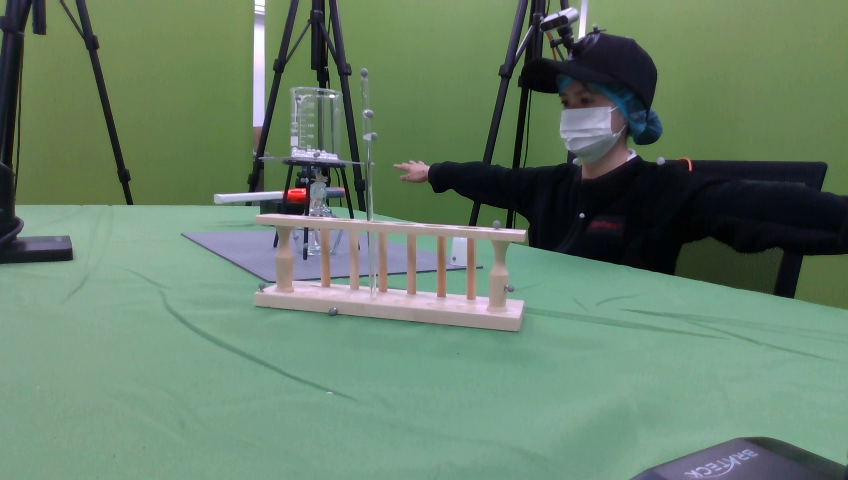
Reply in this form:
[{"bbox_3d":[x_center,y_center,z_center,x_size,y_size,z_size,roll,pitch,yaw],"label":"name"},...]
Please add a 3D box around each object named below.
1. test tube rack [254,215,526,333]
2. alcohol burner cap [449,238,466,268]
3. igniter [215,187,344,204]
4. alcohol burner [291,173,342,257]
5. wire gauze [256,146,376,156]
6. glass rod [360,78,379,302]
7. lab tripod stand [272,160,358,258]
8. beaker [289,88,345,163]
[{"bbox_3d":[-0.030,0.025,0.557,0.242,0.085,0.067,4,7,12],"label":"test tube rack"},{"bbox_3d":[0.051,0.014,0.827,0.034,0.048,0.034,3,4,0],"label":"alcohol burner cap"},{"bbox_3d":[-0.290,-0.093,1.256,0.278,0.025,0.057,-6,11,-34],"label":"igniter"},{"bbox_3d":[-0.155,-0.037,0.870,0.078,0.119,0.078,1,6,0],"label":"alcohol burner"},{"bbox_3d":[-0.155,-0.128,0.871,0.124,0.011,0.122,2,7,36],"label":"wire gauze"},{"bbox_3d":[-0.047,-0.038,0.526,0.008,0.199,0.008,-2,14,1],"label":"glass rod"},{"bbox_3d":[-0.159,-0.048,0.876,0.148,0.131,0.148,3,5,0],"label":"lab tripod stand"},{"bbox_3d":[-0.157,-0.160,0.862,0.083,0.100,0.074,7,7,34],"label":"beaker"}]
